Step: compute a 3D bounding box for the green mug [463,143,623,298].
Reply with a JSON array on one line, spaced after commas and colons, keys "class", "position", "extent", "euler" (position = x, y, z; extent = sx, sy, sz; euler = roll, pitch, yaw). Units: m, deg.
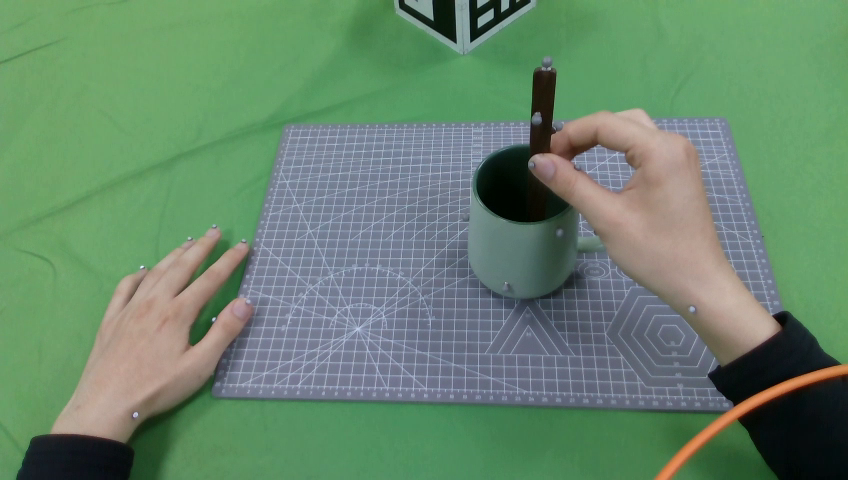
[{"class": "green mug", "position": [0.093, -0.013, 0.482], "extent": [0.125, 0.106, 0.091], "euler": [2, 56, 6]}]

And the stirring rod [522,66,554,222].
[{"class": "stirring rod", "position": [0.075, -0.045, 0.413], "extent": [0.014, 0.178, 0.006], "euler": [7, 54, 12]}]
